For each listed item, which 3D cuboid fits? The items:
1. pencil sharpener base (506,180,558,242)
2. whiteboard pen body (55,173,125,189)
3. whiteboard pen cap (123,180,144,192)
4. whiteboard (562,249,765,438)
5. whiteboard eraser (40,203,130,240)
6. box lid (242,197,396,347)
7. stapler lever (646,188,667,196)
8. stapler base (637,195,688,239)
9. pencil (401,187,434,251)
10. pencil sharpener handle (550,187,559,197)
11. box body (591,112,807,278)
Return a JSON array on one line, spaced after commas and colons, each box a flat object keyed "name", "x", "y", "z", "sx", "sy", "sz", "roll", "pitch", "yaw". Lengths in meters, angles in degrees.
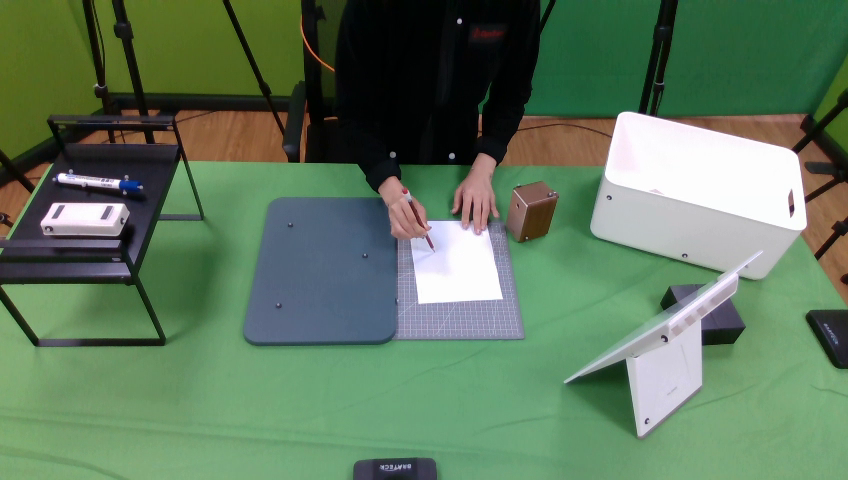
[{"name": "pencil sharpener base", "x": 0.216, "y": -0.058, "z": 1.211, "sx": 0.077, "sy": 0.107, "sz": 0.061, "roll": -16, "pitch": 49, "yaw": -19}, {"name": "whiteboard pen body", "x": -0.539, "y": -0.095, "z": 0.998, "sx": 0.141, "sy": 0.017, "sz": 0.017, "roll": 7, "pitch": 46, "yaw": 6}, {"name": "whiteboard pen cap", "x": -0.479, "y": -0.089, "z": 0.993, "sx": 0.033, "sy": 0.018, "sz": 0.018, "roll": 7, "pitch": 46, "yaw": 14}, {"name": "whiteboard", "x": 0.386, "y": 0.175, "z": 0.905, "sx": 0.217, "sy": 0.306, "sz": 0.143, "roll": -26, "pitch": 72, "yaw": -26}, {"name": "whiteboard eraser", "x": -0.513, "y": -0.028, "z": 0.922, "sx": 0.113, "sy": 0.042, "sz": 0.055, "roll": 1, "pitch": 48, "yaw": -3}, {"name": "box lid", "x": -0.186, "y": 0.046, "z": 1.147, "sx": 0.263, "sy": 0.015, "sz": 0.369, "roll": 0, "pitch": 46, "yaw": -3}, {"name": "stapler lever", "x": 0.507, "y": -0.075, "z": 1.262, "sx": 0.027, "sy": 0.040, "sz": 0.117, "roll": -14, "pitch": 46, "yaw": -19}, {"name": "stapler base", "x": 0.507, "y": -0.055, "z": 1.280, "sx": 0.041, "sy": 0.024, "sz": 0.129, "roll": -14, "pitch": 47, "yaw": -19}, {"name": "pencil", "x": -0.008, "y": -0.033, "z": 1.111, "sx": 0.012, "sy": 0.195, "sz": 0.012, "roll": -10, "pitch": 53, "yaw": 13}, {"name": "pencil sharpener handle", "x": 0.261, "y": -0.084, "z": 1.221, "sx": 0.031, "sy": 0.068, "sz": 0.036, "roll": -16, "pitch": 66, "yaw": -19}, {"name": "box body", "x": 0.540, "y": -0.092, "z": 1.230, "sx": 0.363, "sy": 0.161, "sz": 0.253, "roll": 16, "pitch": 47, "yaw": 11}]
